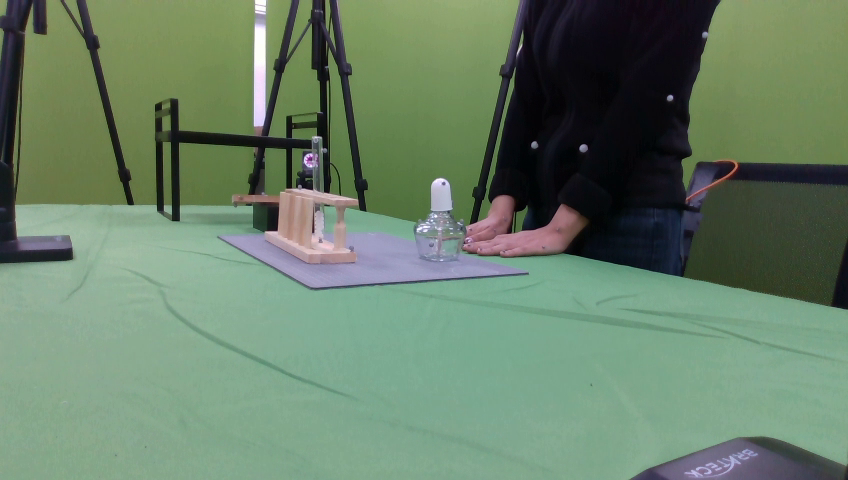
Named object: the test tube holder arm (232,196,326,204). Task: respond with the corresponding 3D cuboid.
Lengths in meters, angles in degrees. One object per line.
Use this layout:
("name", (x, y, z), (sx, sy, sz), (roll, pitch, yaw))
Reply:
("test tube holder arm", (-0.271, -0.076, 1.145), (0.179, 0.015, 0.013), (-1, 0, -31))

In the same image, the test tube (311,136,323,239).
("test tube", (-0.155, -0.076, 0.879), (0.017, 0.150, 0.017), (0, 7, 0))

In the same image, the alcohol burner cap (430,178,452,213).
("alcohol burner cap", (0.024, -0.064, 0.859), (0.034, 0.048, 0.034), (-1, 13, 0))

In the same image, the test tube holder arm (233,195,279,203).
("test tube holder arm", (-0.307, -0.075, 1.116), (0.088, 0.015, 0.010), (-1, 1, -30))

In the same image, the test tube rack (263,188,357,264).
("test tube rack", (-0.175, -0.027, 0.890), (0.067, 0.085, 0.241), (0, 8, -28))

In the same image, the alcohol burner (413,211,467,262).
("alcohol burner", (0.022, -0.029, 0.864), (0.078, 0.119, 0.078), (1, 7, 0))
